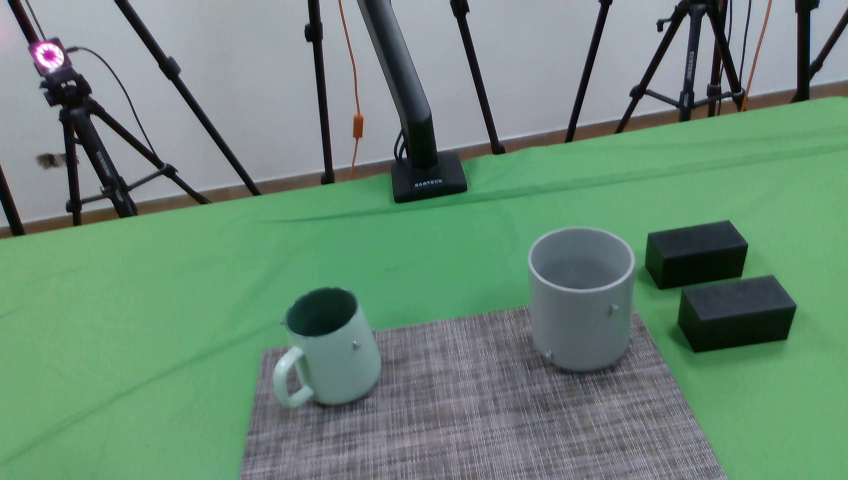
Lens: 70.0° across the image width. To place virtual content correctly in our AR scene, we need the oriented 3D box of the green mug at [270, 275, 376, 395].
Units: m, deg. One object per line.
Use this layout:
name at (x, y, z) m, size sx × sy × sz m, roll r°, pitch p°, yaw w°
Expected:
green mug at (-0.113, 0.112, 0.648) m, size 0.092 × 0.106 × 0.125 m, roll 18°, pitch 46°, yaw 31°

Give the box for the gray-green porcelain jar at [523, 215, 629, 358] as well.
gray-green porcelain jar at (0.160, 0.053, 0.644) m, size 0.106 × 0.128 × 0.105 m, roll -7°, pitch 38°, yaw 5°
